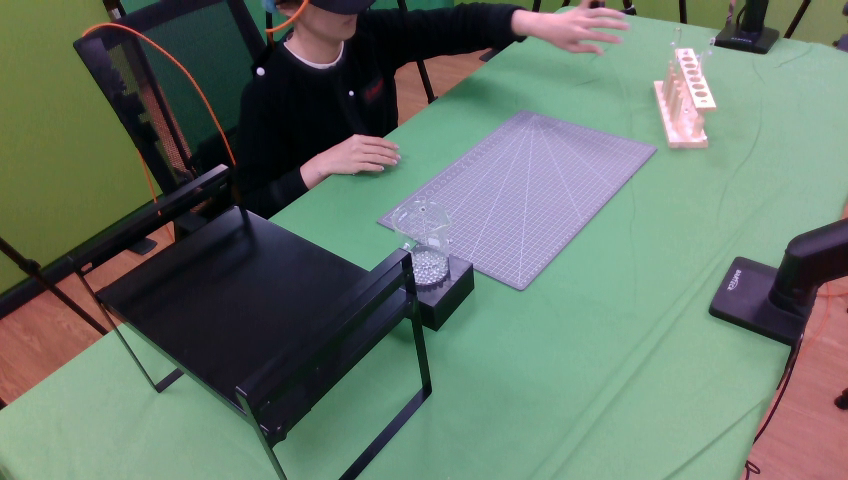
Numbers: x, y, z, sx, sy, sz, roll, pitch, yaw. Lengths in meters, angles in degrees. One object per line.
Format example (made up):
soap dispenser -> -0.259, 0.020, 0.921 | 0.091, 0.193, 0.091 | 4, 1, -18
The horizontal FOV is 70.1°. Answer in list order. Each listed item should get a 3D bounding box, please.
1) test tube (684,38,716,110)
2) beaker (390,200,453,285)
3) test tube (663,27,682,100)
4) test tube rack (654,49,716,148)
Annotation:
test tube -> 0.512, -0.305, 1.126 | 0.017, 0.151, 0.017 | -1, 48, 2
beaker -> 0.002, 0.006, 0.831 | 0.084, 0.101, 0.074 | 5, 42, 13
test tube -> 0.486, -0.342, 1.182 | 0.017, 0.151, 0.017 | -5, 41, 5
test tube rack -> 0.502, -0.281, 1.176 | 0.066, 0.085, 0.241 | 2, 41, 11
